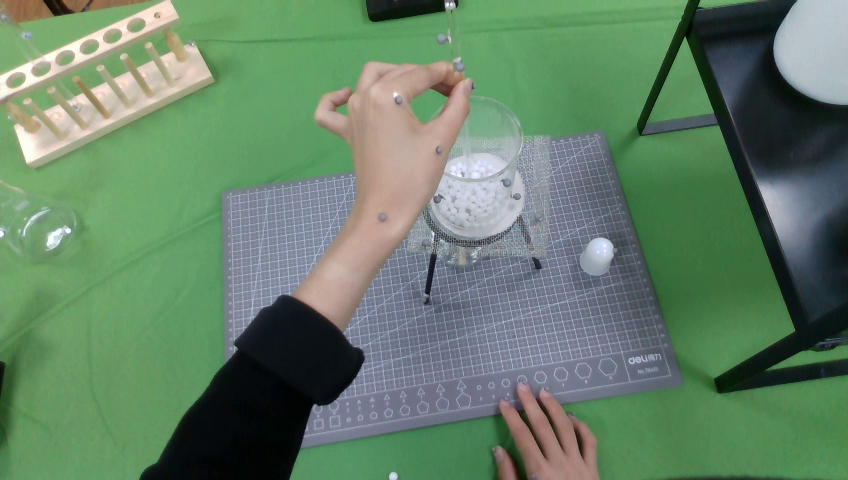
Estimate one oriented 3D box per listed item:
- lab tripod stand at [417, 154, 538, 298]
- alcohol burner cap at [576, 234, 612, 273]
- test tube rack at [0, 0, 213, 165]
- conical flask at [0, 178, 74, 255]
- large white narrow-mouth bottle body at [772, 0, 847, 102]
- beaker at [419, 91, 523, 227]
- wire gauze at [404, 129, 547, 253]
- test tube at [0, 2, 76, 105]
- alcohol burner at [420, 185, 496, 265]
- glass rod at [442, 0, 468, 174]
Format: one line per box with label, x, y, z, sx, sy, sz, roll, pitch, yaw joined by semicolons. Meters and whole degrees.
lab tripod stand;0.047;-0.014;0.597;0.148;0.132;0.147;-1;66;2
alcohol burner cap;0.178;0.011;0.628;0.034;0.048;0.033;-1;66;3
test tube rack;-0.392;-0.190;0.727;0.242;0.086;0.066;-29;68;-9
conical flask;-0.443;-0.038;0.646;0.075;0.123;0.075;-1;66;3
large white narrow-mouth bottle body;0.337;-0.192;0.429;0.102;0.196;0.101;-2;67;5
beaker;0.035;-0.058;0.492;0.084;0.101;0.073;-31;69;-9
wire gauze;0.048;-0.045;0.538;0.121;0.011;0.124;4;66;3
test tube;-0.438;-0.206;0.682;0.017;0.151;0.017;-2;60;3
alcohol burner;0.034;-0.021;0.612;0.078;0.120;0.077;-1;65;2
glass rod;0.024;-0.100;0.445;0.008;0.201;0.008;-3;66;6
